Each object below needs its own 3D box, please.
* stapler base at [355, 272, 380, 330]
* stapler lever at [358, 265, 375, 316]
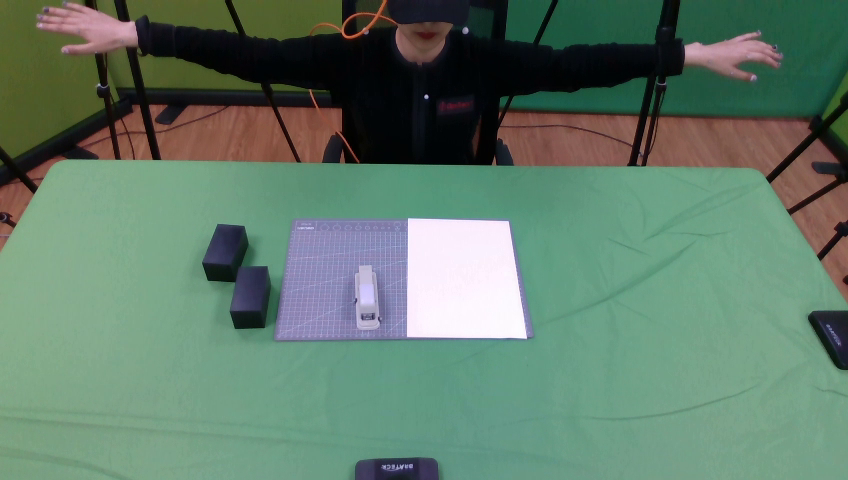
[{"bbox_3d":[-0.103,0.102,1.087,0.041,0.024,0.129,-1,45,-8],"label":"stapler base"},{"bbox_3d":[-0.102,0.083,1.070,0.027,0.040,0.117,-1,44,-8],"label":"stapler lever"}]
